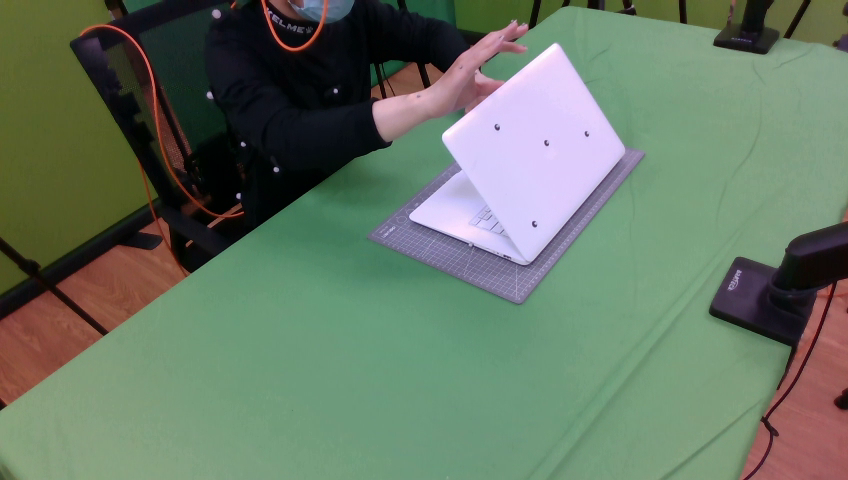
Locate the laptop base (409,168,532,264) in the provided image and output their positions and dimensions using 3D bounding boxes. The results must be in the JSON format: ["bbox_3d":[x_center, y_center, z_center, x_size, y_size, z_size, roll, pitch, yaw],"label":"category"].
[{"bbox_3d":[0.168,-0.095,1.056,0.233,0.023,0.355,20,47,32],"label":"laptop base"}]

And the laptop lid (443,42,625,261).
[{"bbox_3d":[0.194,-0.155,0.969,0.358,0.242,0.013,-42,13,-35],"label":"laptop lid"}]
